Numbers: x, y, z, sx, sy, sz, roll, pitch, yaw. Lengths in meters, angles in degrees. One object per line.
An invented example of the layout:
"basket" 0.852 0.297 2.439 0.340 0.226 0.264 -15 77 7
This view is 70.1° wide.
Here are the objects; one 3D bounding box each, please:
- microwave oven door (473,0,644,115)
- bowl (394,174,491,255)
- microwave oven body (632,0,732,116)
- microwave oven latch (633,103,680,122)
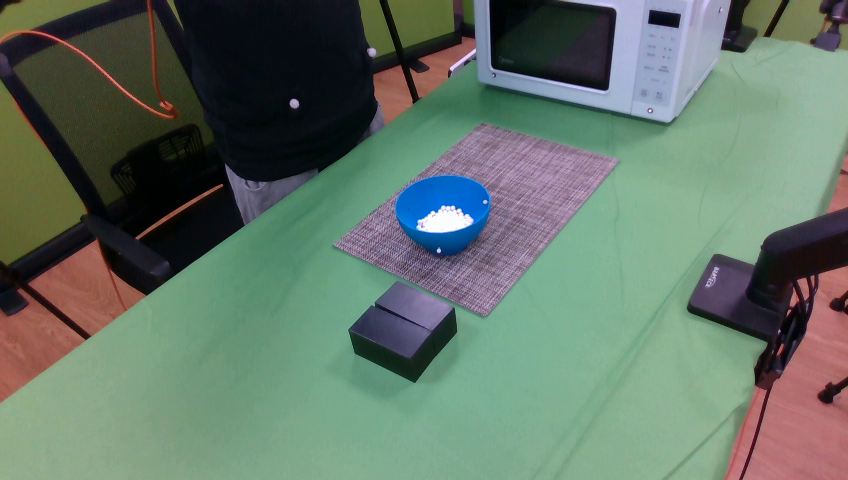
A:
"microwave oven door" 0.257 -0.396 1.199 0.353 0.245 0.039 21 48 29
"bowl" 0.032 -0.030 0.949 0.151 0.077 0.150 -4 40 4
"microwave oven body" 0.377 -0.462 1.267 0.438 0.261 0.327 21 48 30
"microwave oven latch" 0.443 -0.249 1.157 0.078 0.029 0.030 21 48 30
